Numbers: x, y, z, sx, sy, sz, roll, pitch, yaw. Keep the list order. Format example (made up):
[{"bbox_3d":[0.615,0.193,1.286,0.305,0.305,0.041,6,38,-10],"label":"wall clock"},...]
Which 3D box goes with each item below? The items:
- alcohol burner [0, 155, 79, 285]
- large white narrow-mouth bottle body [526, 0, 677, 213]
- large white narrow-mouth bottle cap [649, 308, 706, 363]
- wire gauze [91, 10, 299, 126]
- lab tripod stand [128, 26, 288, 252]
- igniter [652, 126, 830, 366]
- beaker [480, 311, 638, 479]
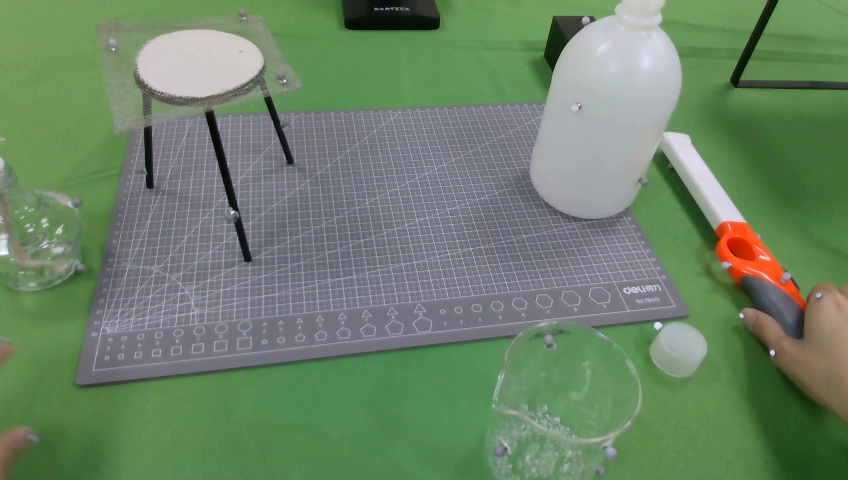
[{"bbox_3d":[-0.291,-0.024,0.424,0.078,0.120,0.077,4,46,-4],"label":"alcohol burner"},{"bbox_3d":[0.151,-0.121,0.504,0.102,0.196,0.101,3,47,-3],"label":"large white narrow-mouth bottle body"},{"bbox_3d":[0.190,0.072,0.455,0.038,0.024,0.037,3,47,-3],"label":"large white narrow-mouth bottle cap"},{"bbox_3d":[-0.163,-0.130,0.426,0.122,0.011,0.123,-15,52,-20],"label":"wire gauze"},{"bbox_3d":[-0.164,-0.083,0.475,0.148,0.132,0.147,5,48,-5],"label":"lab tripod stand"},{"bbox_3d":[0.269,-0.010,0.533,0.057,0.025,0.273,4,47,-16],"label":"igniter"},{"bbox_3d":[0.071,0.102,0.359,0.084,0.101,0.073,-14,50,-16],"label":"beaker"}]
